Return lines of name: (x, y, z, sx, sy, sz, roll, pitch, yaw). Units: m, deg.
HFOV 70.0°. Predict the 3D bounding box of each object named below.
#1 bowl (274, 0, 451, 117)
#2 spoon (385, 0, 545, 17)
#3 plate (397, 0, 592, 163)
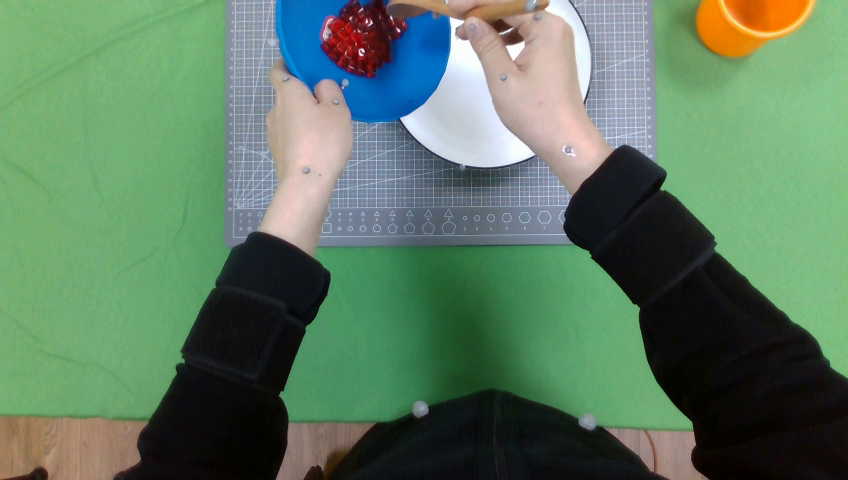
bowl: (-0.061, -0.180, 0.516, 0.152, 0.076, 0.152, -5, 101, -28)
spoon: (0.025, -0.170, 0.436, 0.042, 0.191, 0.022, -12, 117, -27)
plate: (0.064, -0.180, 0.617, 0.209, 0.038, 0.209, 0, 88, 3)
